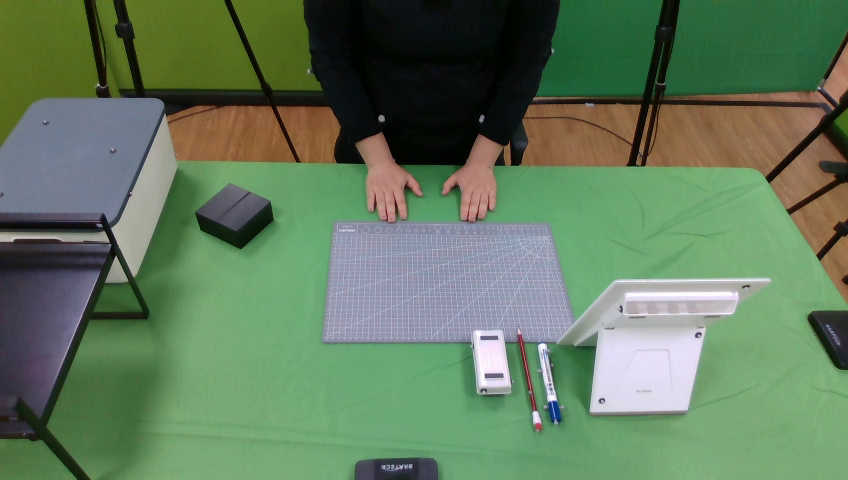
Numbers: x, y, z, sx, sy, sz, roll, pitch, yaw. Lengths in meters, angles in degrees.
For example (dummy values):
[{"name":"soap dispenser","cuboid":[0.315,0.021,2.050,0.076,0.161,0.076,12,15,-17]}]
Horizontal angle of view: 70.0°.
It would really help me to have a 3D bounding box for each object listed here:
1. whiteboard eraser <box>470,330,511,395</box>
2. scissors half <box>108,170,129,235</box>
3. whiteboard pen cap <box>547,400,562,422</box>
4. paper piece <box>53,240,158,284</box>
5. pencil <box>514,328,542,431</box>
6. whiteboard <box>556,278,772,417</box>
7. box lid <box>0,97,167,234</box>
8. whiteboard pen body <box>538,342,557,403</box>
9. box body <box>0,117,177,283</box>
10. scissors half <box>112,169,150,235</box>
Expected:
[{"name":"whiteboard eraser","cuboid":[0.110,0.202,0.998,0.055,0.042,0.112,1,46,-5]},{"name":"scissors half","cuboid":[-0.617,-0.077,1.223,0.040,0.013,0.174,-14,54,-8]},{"name":"whiteboard pen cap","cuboid":[0.205,0.269,0.956,0.018,0.018,0.033,0,47,-5]},{"name":"paper piece","cuboid":[-0.593,0.037,1.134,0.136,0.009,0.137,3,32,8]},{"name":"pencil","cuboid":[0.169,0.224,1.002,0.012,0.012,0.192,-2,46,-6]},{"name":"whiteboard","cuboid":[0.347,0.174,0.903,0.217,0.306,0.143,1,65,-4]},{"name":"box lid","cuboid":[-0.635,-0.145,1.086,0.263,0.015,0.369,0,46,-4]},{"name":"whiteboard pen body","cuboid":[0.205,0.228,0.997,0.017,0.017,0.140,1,46,-3]},{"name":"box body","cuboid":[-0.639,-0.095,1.140,0.254,0.161,0.361,0,46,-4]},{"name":"scissors half","cuboid":[-0.596,-0.078,1.225,0.040,0.013,0.174,7,53,1]}]
